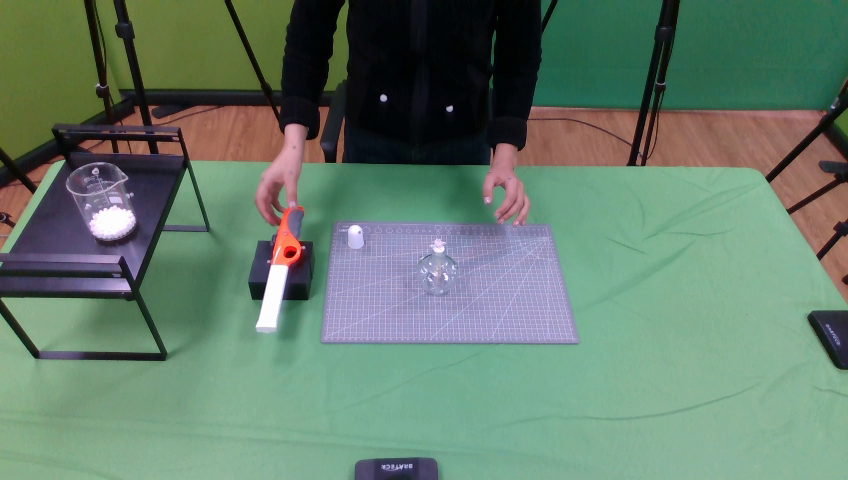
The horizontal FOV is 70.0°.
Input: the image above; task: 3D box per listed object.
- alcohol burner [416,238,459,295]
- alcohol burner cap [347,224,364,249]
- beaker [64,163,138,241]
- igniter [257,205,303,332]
[{"bbox_3d":[0.024,0.042,1.088,0.078,0.120,0.077,1,46,0],"label":"alcohol burner"},{"bbox_3d":[-0.134,-0.011,1.176,0.034,0.048,0.033,2,46,-2],"label":"alcohol burner cap"},{"bbox_3d":[-0.478,-0.055,0.910,0.084,0.101,0.073,-9,48,-13],"label":"beaker"},{"bbox_3d":[-0.252,0.040,1.070,0.057,0.025,0.275,3,50,-2],"label":"igniter"}]
